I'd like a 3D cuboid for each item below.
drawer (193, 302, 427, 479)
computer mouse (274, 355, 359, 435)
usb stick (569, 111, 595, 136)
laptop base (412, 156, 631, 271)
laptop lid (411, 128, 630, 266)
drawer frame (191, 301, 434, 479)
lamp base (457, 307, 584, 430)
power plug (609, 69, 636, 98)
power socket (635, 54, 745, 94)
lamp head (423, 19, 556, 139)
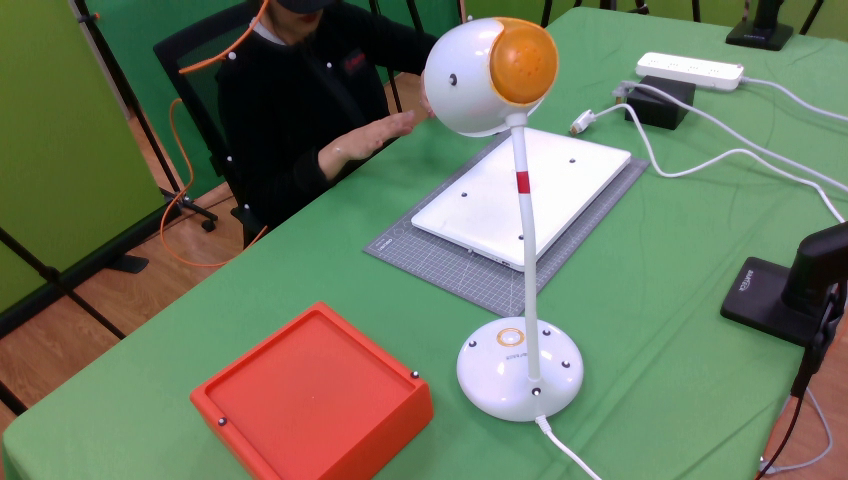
[{"bbox_3d":[-0.136,0.197,0.733,0.195,0.073,0.210,-36,47,-29],"label":"drawer"},{"bbox_3d":[-0.138,0.191,0.762,0.063,0.041,0.116,-38,49,-27],"label":"computer mouse"},{"bbox_3d":[0.309,-0.227,1.189,0.059,0.021,0.027,-44,13,-20],"label":"usb stick"},{"bbox_3d":[0.176,-0.084,1.055,0.233,0.023,0.355,21,48,36],"label":"laptop base"},{"bbox_3d":[0.172,-0.093,1.049,0.239,0.013,0.358,23,50,36],"label":"laptop lid"},{"bbox_3d":[-0.133,0.197,0.731,0.211,0.083,0.202,29,52,36],"label":"drawer frame"},{"bbox_3d":[0.115,0.107,0.713,0.161,0.181,0.178,-16,43,-8],"label":"lamp base"},{"bbox_3d":[0.407,-0.323,1.232,0.035,0.072,0.052,5,38,-35],"label":"power plug"},{"bbox_3d":[0.563,-0.358,1.295,0.225,0.033,0.072,21,49,31],"label":"power socket"},{"bbox_3d":[0.068,-0.151,0.563,0.113,0.113,0.122,-21,18,-13],"label":"lamp head"}]
